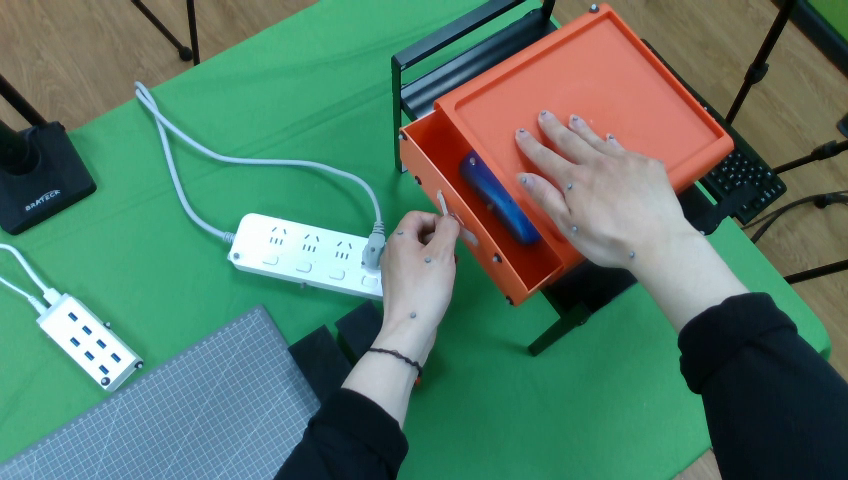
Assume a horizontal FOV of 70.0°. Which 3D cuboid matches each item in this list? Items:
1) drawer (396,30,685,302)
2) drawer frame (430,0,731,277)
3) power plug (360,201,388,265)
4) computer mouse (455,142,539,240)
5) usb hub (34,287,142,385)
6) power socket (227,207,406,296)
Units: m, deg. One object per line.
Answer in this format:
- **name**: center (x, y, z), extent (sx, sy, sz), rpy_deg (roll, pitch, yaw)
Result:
- **drawer**: center (0.111, -0.078, 0.590), extent (0.212, 0.073, 0.193), rpy_deg (-33, 76, -13)
- **drawer frame**: center (0.146, -0.104, 0.599), extent (0.213, 0.083, 0.200), rpy_deg (-33, 76, -13)
- **power plug**: center (-0.054, -0.003, 0.752), extent (0.035, 0.053, 0.072), rpy_deg (24, 71, 6)
- **computer mouse**: center (0.085, -0.058, 0.597), extent (0.063, 0.041, 0.116), rpy_deg (-36, 73, -9)
- **usb hub**: center (-0.400, 0.114, 0.721), extent (0.124, 0.025, 0.049), rpy_deg (39, 75, 9)
- **power socket**: center (-0.135, 0.014, 0.762), extent (0.227, 0.033, 0.072), rpy_deg (13, 71, 2)
